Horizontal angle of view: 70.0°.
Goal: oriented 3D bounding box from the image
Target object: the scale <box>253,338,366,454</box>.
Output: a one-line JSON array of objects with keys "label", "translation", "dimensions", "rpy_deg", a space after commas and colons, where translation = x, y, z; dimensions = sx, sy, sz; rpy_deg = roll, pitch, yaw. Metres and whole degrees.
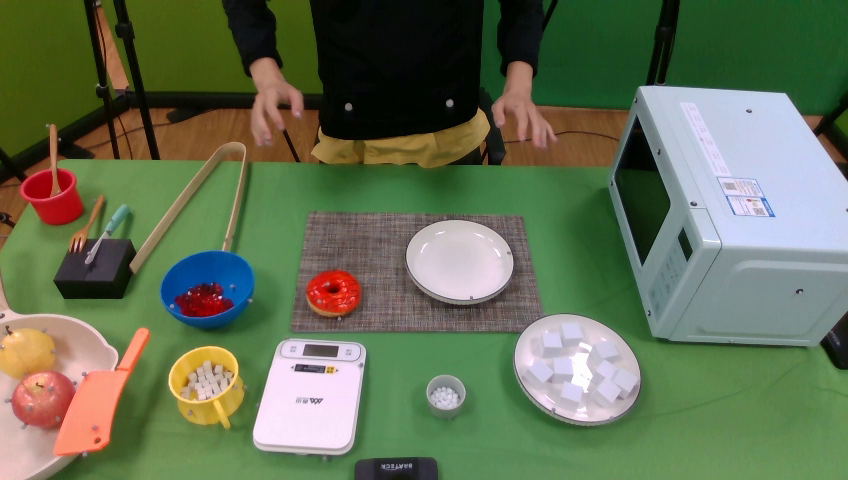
[{"label": "scale", "translation": [-0.175, 0.236, 0.951], "dimensions": [0.149, 0.032, 0.199], "rpy_deg": [4, 45, 0]}]

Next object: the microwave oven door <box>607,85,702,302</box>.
[{"label": "microwave oven door", "translation": [0.423, -0.094, 1.140], "dimensions": [0.039, 0.245, 0.353], "rpy_deg": [2, 46, -1]}]

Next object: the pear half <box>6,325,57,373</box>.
[{"label": "pear half", "translation": [-0.607, 0.158, 0.935], "dimensions": [0.076, 0.110, 0.056], "rpy_deg": [31, 51, 19]}]

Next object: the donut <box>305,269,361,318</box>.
[{"label": "donut", "translation": [-0.160, 0.094, 1.075], "dimensions": [0.099, 0.048, 0.098], "rpy_deg": [4, 45, -3]}]

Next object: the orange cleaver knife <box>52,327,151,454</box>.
[{"label": "orange cleaver knife", "translation": [-0.462, 0.212, 0.879], "dimensions": [0.077, 0.012, 0.210], "rpy_deg": [6, 45, -1]}]

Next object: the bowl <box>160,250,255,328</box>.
[{"label": "bowl", "translation": [-0.362, 0.098, 1.040], "dimensions": [0.151, 0.077, 0.150], "rpy_deg": [2, 45, -2]}]

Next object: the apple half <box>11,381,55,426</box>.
[{"label": "apple half", "translation": [-0.570, 0.246, 0.875], "dimensions": [0.081, 0.081, 0.033], "rpy_deg": [32, 49, 24]}]

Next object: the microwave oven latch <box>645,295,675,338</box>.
[{"label": "microwave oven latch", "translation": [0.411, 0.134, 1.061], "dimensions": [0.030, 0.029, 0.078], "rpy_deg": [3, 45, 0]}]

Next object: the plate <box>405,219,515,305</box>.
[{"label": "plate", "translation": [0.067, 0.044, 1.144], "dimensions": [0.209, 0.038, 0.208], "rpy_deg": [2, 46, -2]}]

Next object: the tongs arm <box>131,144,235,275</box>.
[{"label": "tongs arm", "translation": [-0.484, -0.076, 1.236], "dimensions": [0.028, 0.028, 0.385], "rpy_deg": [5, 45, 14]}]

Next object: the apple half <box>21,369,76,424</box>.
[{"label": "apple half", "translation": [-0.546, 0.226, 0.898], "dimensions": [0.080, 0.075, 0.053], "rpy_deg": [30, 48, 27]}]

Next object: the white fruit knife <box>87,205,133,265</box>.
[{"label": "white fruit knife", "translation": [-0.584, -0.013, 1.129], "dimensions": [0.016, 0.027, 0.206], "rpy_deg": [0, 31, -5]}]

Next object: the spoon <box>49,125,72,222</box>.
[{"label": "spoon", "translation": [-0.718, -0.131, 1.189], "dimensions": [0.041, 0.021, 0.193], "rpy_deg": [-4, 90, -6]}]

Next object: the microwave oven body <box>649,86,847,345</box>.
[{"label": "microwave oven body", "translation": [0.567, -0.053, 1.118], "dimensions": [0.326, 0.261, 0.439], "rpy_deg": [2, 45, -1]}]

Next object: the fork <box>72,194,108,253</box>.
[{"label": "fork", "translation": [-0.634, -0.036, 1.158], "dimensions": [0.028, 0.019, 0.206], "rpy_deg": [-7, 31, -9]}]

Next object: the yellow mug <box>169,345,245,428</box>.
[{"label": "yellow mug", "translation": [-0.322, 0.230, 0.922], "dimensions": [0.100, 0.064, 0.130], "rpy_deg": [-24, 53, -25]}]

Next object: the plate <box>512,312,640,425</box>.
[{"label": "plate", "translation": [0.246, 0.213, 0.999], "dimensions": [0.208, 0.039, 0.206], "rpy_deg": [2, 46, -2]}]

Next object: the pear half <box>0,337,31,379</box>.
[{"label": "pear half", "translation": [-0.630, 0.184, 0.922], "dimensions": [0.070, 0.088, 0.031], "rpy_deg": [29, 49, 18]}]

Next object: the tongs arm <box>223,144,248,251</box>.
[{"label": "tongs arm", "translation": [-0.398, -0.073, 1.232], "dimensions": [0.051, 0.027, 0.382], "rpy_deg": [-3, 45, 1]}]

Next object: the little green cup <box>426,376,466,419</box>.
[{"label": "little green cup", "translation": [0.033, 0.248, 0.950], "dimensions": [0.061, 0.039, 0.061], "rpy_deg": [2, 46, -2]}]

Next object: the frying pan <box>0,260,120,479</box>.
[{"label": "frying pan", "translation": [-0.647, 0.164, 0.936], "dimensions": [0.307, 0.103, 0.485], "rpy_deg": [-19, 58, -22]}]
